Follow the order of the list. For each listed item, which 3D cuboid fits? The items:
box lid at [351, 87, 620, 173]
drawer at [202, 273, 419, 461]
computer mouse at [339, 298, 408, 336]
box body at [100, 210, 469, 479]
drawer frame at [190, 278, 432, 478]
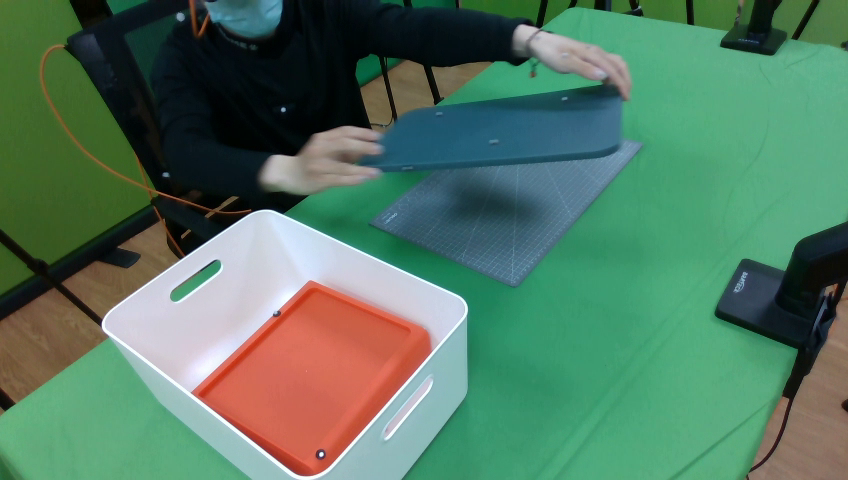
[{"bbox_3d":[0.096,-0.165,0.896,0.370,0.015,0.263,-2,29,19],"label":"box lid"},{"bbox_3d":[-0.135,0.168,0.727,0.193,0.073,0.211,21,63,22],"label":"drawer"},{"bbox_3d":[-0.074,0.109,0.773,0.117,0.041,0.062,-11,44,6],"label":"computer mouse"},{"bbox_3d":[-0.152,0.140,0.722,0.361,0.161,0.255,22,49,30],"label":"box body"},{"bbox_3d":[-0.129,0.167,0.738,0.200,0.083,0.214,19,48,27],"label":"drawer frame"}]
